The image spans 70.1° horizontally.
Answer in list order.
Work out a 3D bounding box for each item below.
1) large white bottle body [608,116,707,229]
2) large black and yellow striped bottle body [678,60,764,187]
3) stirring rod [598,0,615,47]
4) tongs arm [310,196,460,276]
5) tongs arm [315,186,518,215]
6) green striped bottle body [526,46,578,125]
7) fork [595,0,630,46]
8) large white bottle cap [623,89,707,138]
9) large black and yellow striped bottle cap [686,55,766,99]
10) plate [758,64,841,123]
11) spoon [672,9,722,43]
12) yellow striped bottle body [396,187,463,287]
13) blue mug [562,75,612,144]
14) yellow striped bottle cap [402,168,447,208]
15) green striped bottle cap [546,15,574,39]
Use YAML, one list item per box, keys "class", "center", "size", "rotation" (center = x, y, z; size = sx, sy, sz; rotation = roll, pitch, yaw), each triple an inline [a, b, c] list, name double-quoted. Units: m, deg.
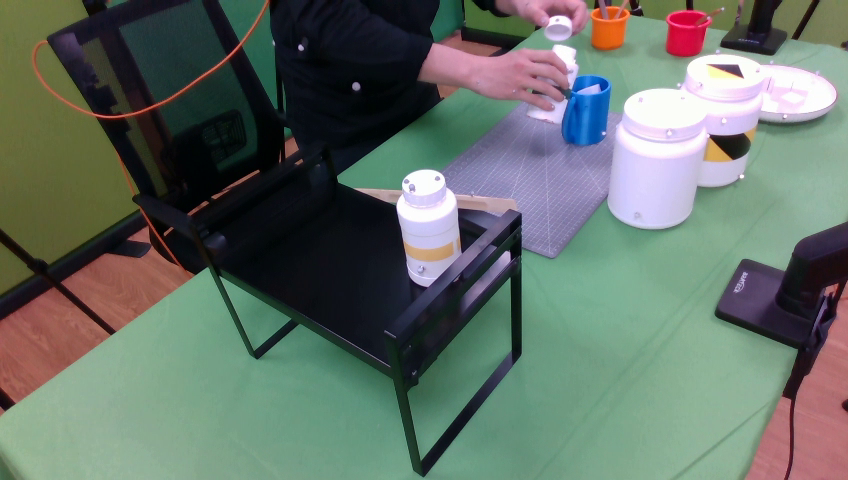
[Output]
- class: "large white bottle body"
  center: [0.361, -0.123, 0.941]
  size: [0.130, 0.185, 0.130]
  rotation: [-4, 41, 4]
- class: "large black and yellow striped bottle body"
  center: [0.482, -0.196, 1.008]
  size: [0.131, 0.185, 0.130]
  rotation: [-4, 41, 4]
- class: "stirring rod"
  center: [0.437, -0.551, 1.462]
  size: [0.014, 0.006, 0.175]
  rotation: [-11, 83, 1]
- class: "tongs arm"
  center: [-0.078, -0.012, 0.944]
  size: [0.028, 0.028, 0.384]
  rotation: [-43, 39, -22]
- class: "tongs arm"
  center: [-0.028, -0.060, 0.988]
  size: [0.382, 0.027, 0.051]
  rotation: [9, 45, 36]
- class: "green striped bottle body"
  center: [0.213, -0.255, 0.996]
  size: [0.063, 0.119, 0.063]
  rotation: [13, 13, -3]
- class: "fork"
  center: [0.480, -0.556, 1.453]
  size: [0.028, 0.019, 0.207]
  rotation: [41, 103, 40]
- class: "large white bottle cap"
  center: [0.352, -0.187, 0.886]
  size: [0.115, 0.018, 0.114]
  rotation: [-4, 41, 4]
- class: "large black and yellow striped bottle cap"
  center: [0.474, -0.258, 0.952]
  size: [0.115, 0.019, 0.114]
  rotation: [-5, 41, 5]
- class: "plate"
  center: [0.694, -0.283, 1.189]
  size: [0.207, 0.039, 0.206]
  rotation: [-4, 40, 4]
- class: "spoon"
  center: [0.606, -0.476, 1.345]
  size: [0.042, 0.021, 0.193]
  rotation: [-6, -3, -2]
- class: "yellow striped bottle body"
  center: [0.006, -0.013, 0.638]
  size: [0.063, 0.121, 0.062]
  rotation: [-5, 41, 5]
- class: "blue mug"
  center: [0.298, -0.239, 1.143]
  size: [0.081, 0.106, 0.117]
  rotation: [30, 54, 36]
- class: "yellow striped bottle cap"
  center: [0.000, -0.052, 0.605]
  size: [0.044, 0.019, 0.044]
  rotation: [-5, 43, 5]
- class: "green striped bottle cap"
  center: [0.222, -0.348, 0.988]
  size: [0.044, 0.044, 0.020]
  rotation: [12, 82, 21]
